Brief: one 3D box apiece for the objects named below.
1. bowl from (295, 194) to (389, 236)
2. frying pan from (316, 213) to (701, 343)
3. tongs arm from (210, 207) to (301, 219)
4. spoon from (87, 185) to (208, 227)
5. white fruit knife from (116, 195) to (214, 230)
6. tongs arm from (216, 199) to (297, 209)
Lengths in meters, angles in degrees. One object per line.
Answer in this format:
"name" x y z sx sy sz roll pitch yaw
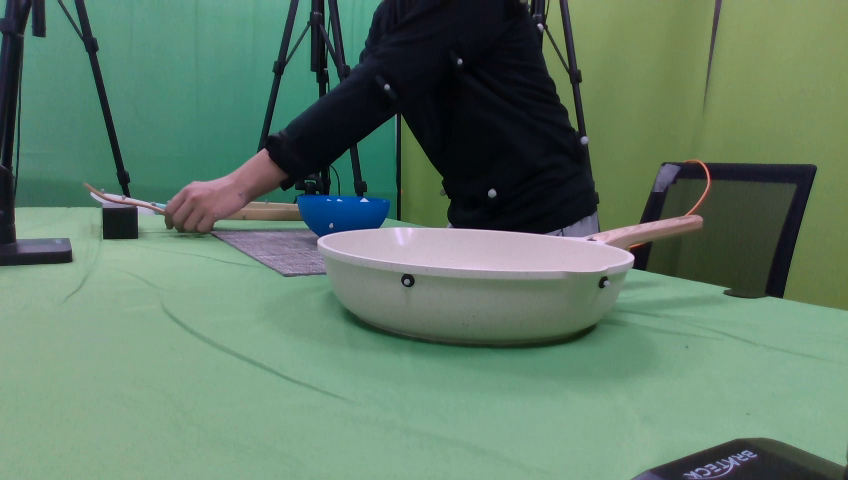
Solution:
"bowl" -0.132 -0.032 0.980 0.151 0.077 0.151 2 7 0
"frying pan" 0.133 0.013 0.629 0.490 0.102 0.305 -12 14 -30
"tongs arm" -0.287 -0.061 1.392 0.389 0.028 0.028 0 5 -23
"spoon" -0.461 -0.055 1.019 0.195 0.021 0.041 15 -32 -32
"white fruit knife" -0.477 -0.055 1.077 0.208 0.027 0.016 15 -5 -30
"tongs arm" -0.307 -0.075 1.469 0.386 0.026 0.050 2 8 -10
